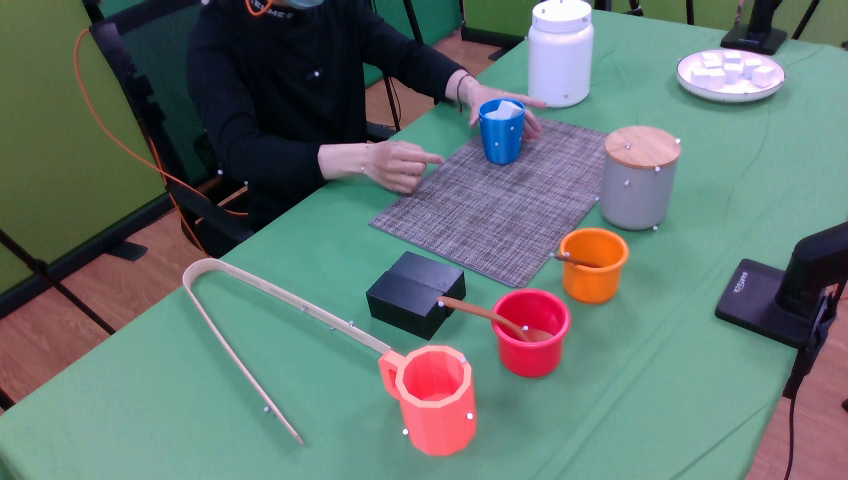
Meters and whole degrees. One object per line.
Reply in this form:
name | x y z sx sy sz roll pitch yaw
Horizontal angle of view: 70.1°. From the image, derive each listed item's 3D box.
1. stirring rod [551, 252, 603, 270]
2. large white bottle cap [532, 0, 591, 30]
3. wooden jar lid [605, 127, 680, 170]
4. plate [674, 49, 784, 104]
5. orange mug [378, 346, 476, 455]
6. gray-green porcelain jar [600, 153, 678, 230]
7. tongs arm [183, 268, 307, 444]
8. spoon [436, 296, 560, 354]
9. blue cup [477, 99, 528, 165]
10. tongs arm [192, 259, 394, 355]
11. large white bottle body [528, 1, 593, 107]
stirring rod | 0.211 0.029 0.822 0.014 0.006 0.177 32 11 33
large white bottle cap | 0.274 -0.450 1.204 0.115 0.018 0.114 -4 41 4
wooden jar lid | 0.327 -0.134 0.909 0.108 0.021 0.108 -2 43 2
plate | 0.631 -0.336 1.262 0.207 0.039 0.206 -4 41 4
orange mug | 0.002 0.179 0.708 0.125 0.101 0.083 25 50 27
gray-green porcelain jar | 0.334 -0.087 0.949 0.106 0.127 0.105 -4 40 4
tongs arm | -0.260 0.148 0.841 0.028 0.028 0.384 -37 48 -18
spoon | 0.095 0.102 0.750 0.195 0.021 0.041 28 30 -28
blue cup | 0.143 -0.198 1.128 0.092 0.100 0.092 -3 38 3
tongs arm | -0.204 0.100 0.881 0.382 0.027 0.051 23 54 32
large white bottle body | 0.282 -0.386 1.259 0.130 0.185 0.130 -5 41 4
